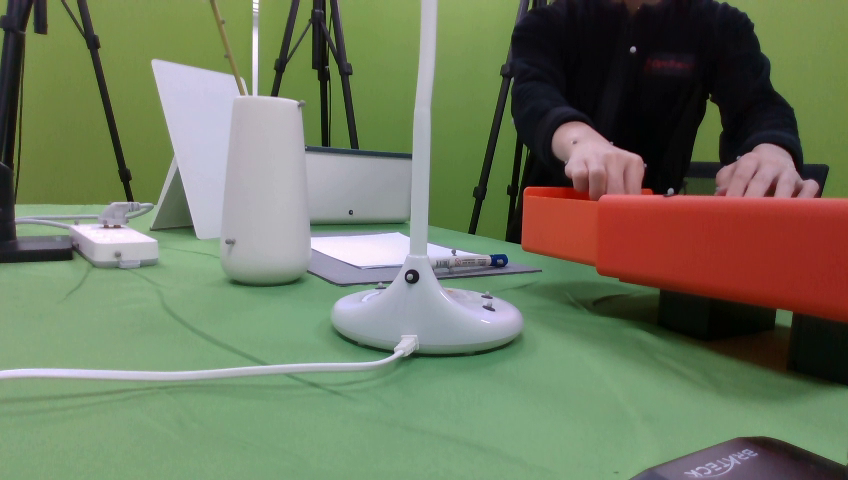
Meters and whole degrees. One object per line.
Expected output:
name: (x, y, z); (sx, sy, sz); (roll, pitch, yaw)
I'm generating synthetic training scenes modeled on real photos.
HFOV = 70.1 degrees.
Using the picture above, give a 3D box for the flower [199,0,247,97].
flower: (-0.187, -0.133, 0.648); (0.038, 0.362, 0.044); (-1, 21, 42)

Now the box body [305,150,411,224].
box body: (-0.230, -0.126, 1.371); (0.366, 0.160, 0.253); (-2, 8, -33)

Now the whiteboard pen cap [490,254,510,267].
whiteboard pen cap: (0.099, 0.028, 0.815); (0.033, 0.018, 0.018); (-2, 9, -39)

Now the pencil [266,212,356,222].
pencil: (-0.244, -0.049, 1.319); (0.195, 0.012, 0.012); (4, 7, -12)

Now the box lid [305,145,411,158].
box lid: (-0.228, -0.200, 1.361); (0.373, 0.015, 0.262); (-1, 8, -33)

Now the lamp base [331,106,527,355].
lamp base: (0.006, -0.012, 0.478); (0.161, 0.180, 0.179); (2, 10, 2)

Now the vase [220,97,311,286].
vase: (-0.172, -0.052, 0.662); (0.098, 0.200, 0.098); (3, 8, 0)

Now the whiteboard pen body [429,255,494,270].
whiteboard pen body: (0.053, 0.028, 0.777); (0.141, 0.017, 0.017); (-1, 8, -39)

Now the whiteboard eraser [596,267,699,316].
whiteboard eraser: (0.199, 0.027, 0.573); (0.056, 0.042, 0.112); (9, 28, -49)

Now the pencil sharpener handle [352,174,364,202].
pencil sharpener handle: (-0.157, -0.125, 1.450); (0.031, 0.068, 0.036); (2, 19, -11)

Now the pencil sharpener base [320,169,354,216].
pencil sharpener base: (-0.207, -0.113, 1.438); (0.077, 0.107, 0.061); (2, 6, -11)

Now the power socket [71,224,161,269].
power socket: (-0.408, 0.004, 0.793); (0.072, 0.032, 0.225); (-2, 8, -38)

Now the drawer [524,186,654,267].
drawer: (0.238, -0.010, 0.599); (0.195, 0.073, 0.210); (-1, 8, -29)

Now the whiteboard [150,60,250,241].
whiteboard: (-0.408, -0.139, 1.093); (0.143, 0.305, 0.218); (-15, -1, 26)

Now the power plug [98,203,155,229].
power plug: (-0.416, -0.026, 0.848); (0.073, 0.052, 0.035); (1, 7, -28)

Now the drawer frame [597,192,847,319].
drawer frame: (0.293, 0.002, 0.504); (0.203, 0.082, 0.212); (-1, 5, -30)
